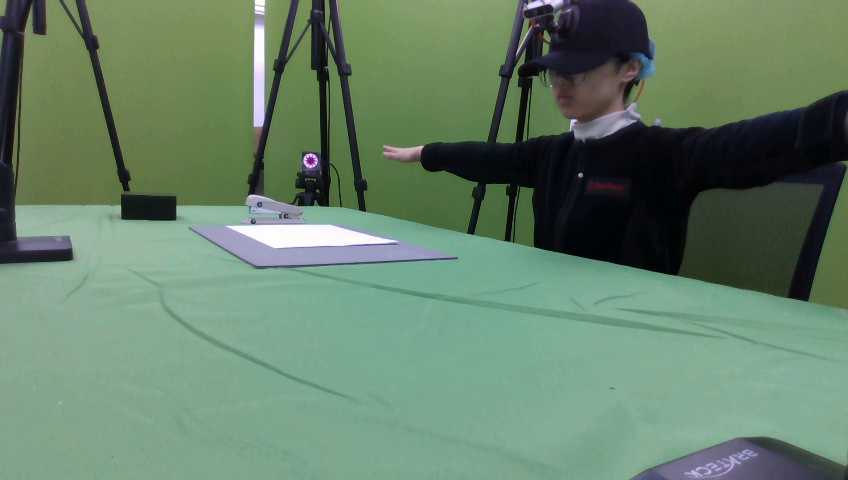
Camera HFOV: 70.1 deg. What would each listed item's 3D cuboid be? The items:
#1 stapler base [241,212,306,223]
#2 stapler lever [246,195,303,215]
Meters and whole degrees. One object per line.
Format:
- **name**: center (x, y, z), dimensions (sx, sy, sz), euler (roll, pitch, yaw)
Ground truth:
- **stapler base**: center (-0.316, -0.048, 1.272), dimensions (0.131, 0.024, 0.041), euler (0, 10, -31)
- **stapler lever**: center (-0.313, -0.073, 1.270), dimensions (0.119, 0.040, 0.026), euler (0, 10, -31)
